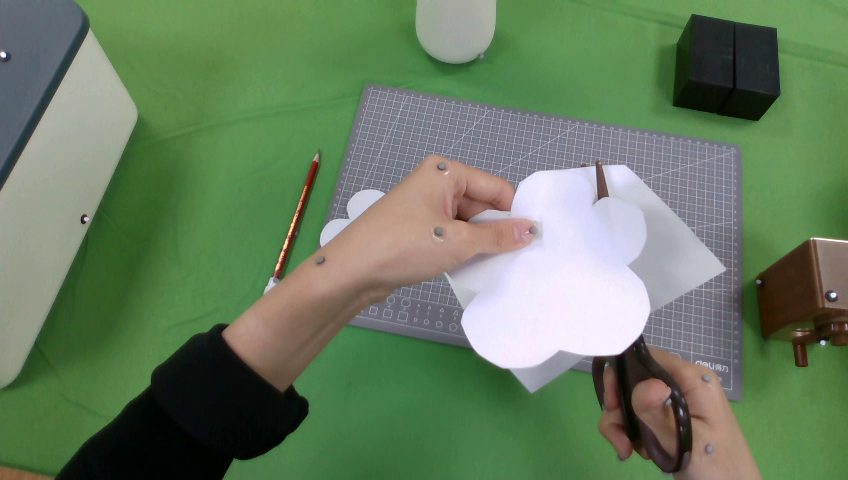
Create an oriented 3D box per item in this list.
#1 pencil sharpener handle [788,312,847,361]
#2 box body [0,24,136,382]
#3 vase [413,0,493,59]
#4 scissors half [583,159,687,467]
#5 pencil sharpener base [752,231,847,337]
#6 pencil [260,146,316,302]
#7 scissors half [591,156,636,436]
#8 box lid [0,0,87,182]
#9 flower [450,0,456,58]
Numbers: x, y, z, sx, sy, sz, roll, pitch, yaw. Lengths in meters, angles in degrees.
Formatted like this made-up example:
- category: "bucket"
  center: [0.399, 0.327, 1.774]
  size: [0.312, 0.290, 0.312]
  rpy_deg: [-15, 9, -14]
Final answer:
- category: "pencil sharpener handle"
  center: [0.363, 0.090, 0.552]
  size: [0.036, 0.068, 0.030]
  rpy_deg: [12, 66, -12]
- category: "box body"
  center: [-0.479, -0.059, 0.587]
  size: [0.254, 0.161, 0.361]
  rpy_deg: [10, 67, 4]
- category: "vase"
  center: [0.034, -0.299, 0.677]
  size: [0.098, 0.201, 0.097]
  rpy_deg: [0, 65, 1]
- category: "scissors half"
  center: [0.113, 0.038, 0.334]
  size: [0.013, 0.040, 0.174]
  rpy_deg: [-13, 84, -15]
- category: "pencil sharpener base"
  center: [0.373, 0.049, 0.583]
  size: [0.061, 0.108, 0.076]
  rpy_deg: [6, 67, 2]
- category: "pencil"
  center: [-0.145, -0.024, 0.661]
  size: [0.012, 0.012, 0.193]
  rpy_deg: [11, 66, 5]
- category: "scissors half"
  center: [0.108, 0.037, 0.356]
  size: [0.013, 0.039, 0.176]
  rpy_deg: [-12, 110, -10]
- category: "box lid"
  center: [-0.478, -0.091, 0.519]
  size: [0.263, 0.015, 0.369]
  rpy_deg: [11, 67, 3]
- category: "flower"
  center: [0.030, -0.345, 0.606]
  size: [0.044, 0.365, 0.038]
  rpy_deg: [4, 49, 5]
